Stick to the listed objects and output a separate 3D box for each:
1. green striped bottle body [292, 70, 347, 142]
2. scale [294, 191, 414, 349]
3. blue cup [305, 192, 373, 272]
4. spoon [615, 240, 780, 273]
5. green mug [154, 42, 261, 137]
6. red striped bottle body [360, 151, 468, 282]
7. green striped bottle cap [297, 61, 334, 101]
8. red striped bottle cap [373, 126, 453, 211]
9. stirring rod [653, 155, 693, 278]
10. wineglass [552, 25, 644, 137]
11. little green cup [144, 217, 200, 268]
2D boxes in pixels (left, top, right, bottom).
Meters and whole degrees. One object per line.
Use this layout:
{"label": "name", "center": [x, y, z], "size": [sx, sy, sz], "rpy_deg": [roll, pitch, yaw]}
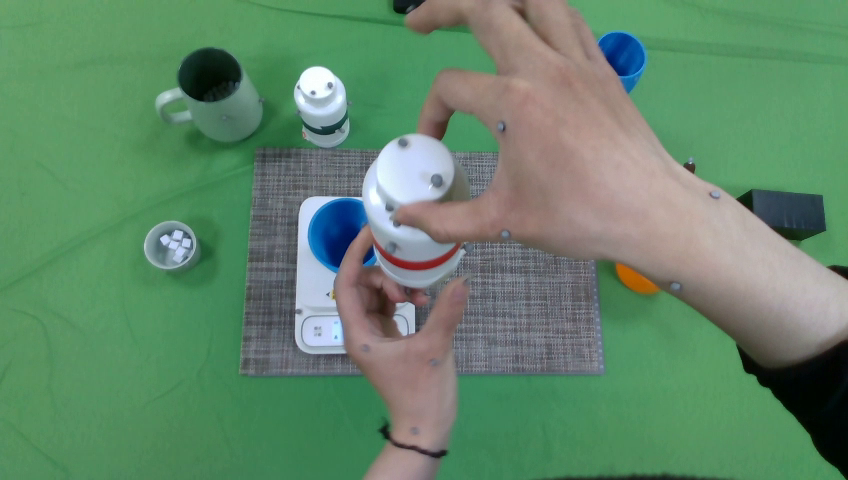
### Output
{"label": "green striped bottle body", "center": [-0.133, -0.177, 0.776], "size": [0.063, 0.119, 0.063], "rpy_deg": [1, 75, -4]}
{"label": "scale", "center": [-0.088, 0.035, 0.768], "size": [0.149, 0.031, 0.200], "rpy_deg": [0, 76, -4]}
{"label": "blue cup", "center": [-0.091, -0.001, 0.709], "size": [0.093, 0.100, 0.092], "rpy_deg": [1, 78, -4]}
{"label": "spoon", "center": [0.330, 0.026, 0.747], "size": [0.022, 0.192, 0.041], "rpy_deg": [22, 79, -44]}
{"label": "green mug", "center": [-0.278, -0.184, 0.774], "size": [0.125, 0.105, 0.092], "rpy_deg": [-21, 78, -9]}
{"label": "red striped bottle body", "center": [-0.006, -0.019, 0.377], "size": [0.063, 0.120, 0.062], "rpy_deg": [0, 69, -1]}
{"label": "green striped bottle cap", "center": [-0.130, -0.191, 0.726], "size": [0.044, 0.020, 0.044], "rpy_deg": [1, 75, -4]}
{"label": "red striped bottle cap", "center": [-0.006, -0.039, 0.327], "size": [0.044, 0.018, 0.044], "rpy_deg": [1, 71, -3]}
{"label": "stirring rod", "center": [0.310, -0.025, 0.759], "size": [0.014, 0.177, 0.006], "rpy_deg": [6, 34, 11]}
{"label": "wineglass", "center": [0.219, -0.199, 0.782], "size": [0.074, 0.173, 0.073], "rpy_deg": [1, 75, -4]}
{"label": "little green cup", "center": [-0.312, 0.005, 0.757], "size": [0.061, 0.039, 0.061], "rpy_deg": [2, 75, -5]}
